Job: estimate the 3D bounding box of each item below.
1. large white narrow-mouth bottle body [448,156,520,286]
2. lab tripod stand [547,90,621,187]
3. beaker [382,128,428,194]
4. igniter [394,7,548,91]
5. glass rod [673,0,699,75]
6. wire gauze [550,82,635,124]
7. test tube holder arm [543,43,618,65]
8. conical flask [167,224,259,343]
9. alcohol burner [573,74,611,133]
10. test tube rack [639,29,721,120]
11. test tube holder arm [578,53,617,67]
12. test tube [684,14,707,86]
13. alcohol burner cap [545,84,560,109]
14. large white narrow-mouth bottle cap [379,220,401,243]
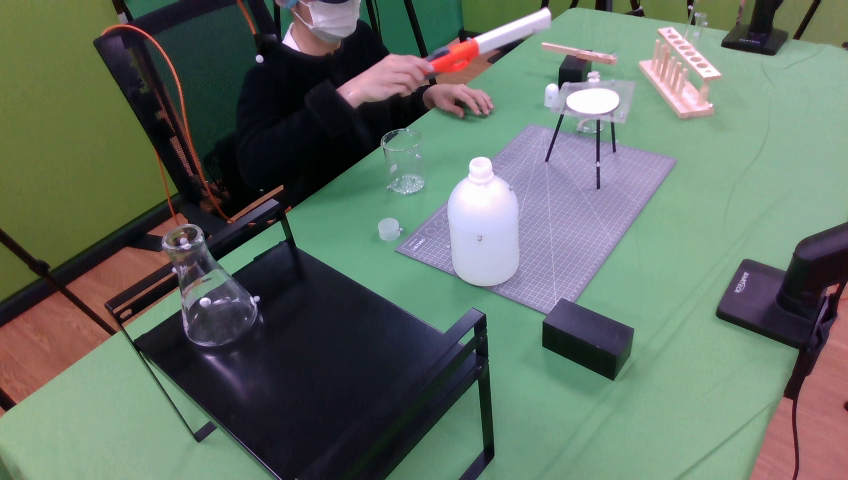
[{"bbox_3d":[0.086,-0.032,0.869,0.102,0.195,0.101,-4,40,4],"label":"large white narrow-mouth bottle body"},{"bbox_3d":[0.289,-0.184,1.062,0.148,0.132,0.147,-6,41,6],"label":"lab tripod stand"},{"bbox_3d":[-0.030,-0.142,1.095,0.073,0.101,0.084,14,44,23],"label":"beaker"},{"bbox_3d":[0.074,-0.316,1.004,0.276,0.057,0.025,-23,61,2],"label":"igniter"},{"bbox_3d":[0.541,-0.427,1.246,0.008,0.200,0.008,0,48,1],"label":"glass rod"},{"bbox_3d":[0.285,-0.236,1.020,0.124,0.011,0.121,10,44,22],"label":"wire gauze"},{"bbox_3d":[0.345,-0.413,1.340,0.177,0.015,0.013,25,50,31],"label":"test tube holder arm"},{"bbox_3d":[-0.220,0.041,0.613,0.075,0.122,0.075,-5,40,4],"label":"conical flask"},{"bbox_3d":[0.330,-0.270,1.177,0.078,0.119,0.077,-4,43,4],"label":"alcohol burner"},{"bbox_3d":[0.527,-0.351,1.262,0.067,0.085,0.241,-8,40,1],"label":"test tube rack"},{"bbox_3d":[0.376,-0.393,1.314,0.087,0.015,0.010,26,51,32],"label":"test tube holder arm"},{"bbox_3d":[0.541,-0.379,1.216,0.017,0.151,0.017,-2,44,2],"label":"test tube"},{"bbox_3d":[0.274,-0.308,1.285,0.034,0.048,0.033,-5,42,5],"label":"alcohol burner cap"},{"bbox_3d":[-0.057,-0.015,1.011,0.038,0.024,0.037,-4,40,4],"label":"large white narrow-mouth bottle cap"}]
